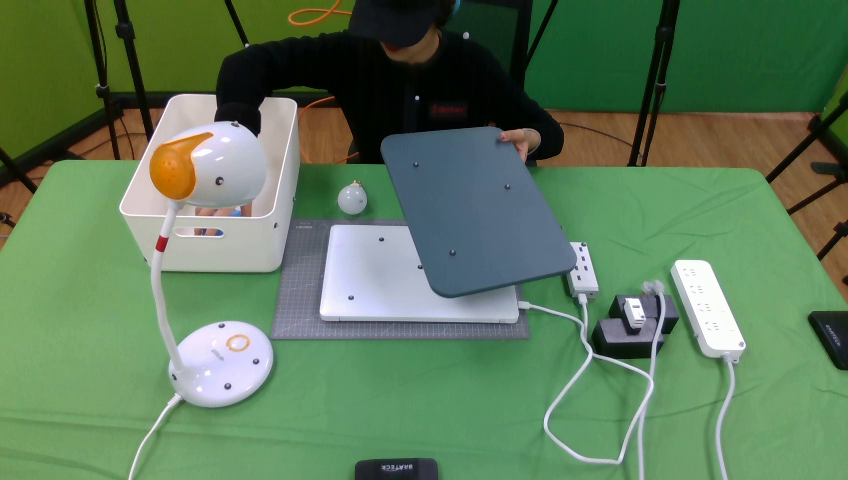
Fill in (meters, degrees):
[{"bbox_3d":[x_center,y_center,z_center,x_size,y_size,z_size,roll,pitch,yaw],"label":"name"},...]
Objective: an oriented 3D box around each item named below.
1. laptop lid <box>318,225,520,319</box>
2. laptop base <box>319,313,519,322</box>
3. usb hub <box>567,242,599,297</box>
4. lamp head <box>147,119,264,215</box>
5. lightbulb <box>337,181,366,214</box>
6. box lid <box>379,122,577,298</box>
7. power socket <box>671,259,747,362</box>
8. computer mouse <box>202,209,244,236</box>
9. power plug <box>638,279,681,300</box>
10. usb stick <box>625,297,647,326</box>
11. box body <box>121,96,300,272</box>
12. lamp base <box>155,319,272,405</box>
[{"bbox_3d":[-0.009,0.053,1.131,0.357,0.013,0.240,2,43,-2],"label":"laptop lid"},{"bbox_3d":[-0.009,0.063,1.137,0.354,0.023,0.234,1,42,-3],"label":"laptop base"},{"bbox_3d":[0.299,0.055,1.162,0.049,0.025,0.124,2,46,-2],"label":"usb hub"},{"bbox_3d":[-0.276,-0.087,0.740,0.112,0.112,0.123,20,23,15],"label":"lamp head"},{"bbox_3d":[-0.147,-0.094,1.261,0.059,0.060,0.107,4,30,0],"label":"lightbulb"},{"bbox_3d":[0.087,-0.069,1.071,0.264,0.015,0.369,-10,55,-15],"label":"box lid"},{"bbox_3d":[0.517,0.119,1.108,0.072,0.033,0.225,1,46,-2],"label":"power socket"},{"bbox_3d":[-0.389,-0.022,1.172,0.063,0.041,0.116,-1,43,-2],"label":"computer mouse"},{"bbox_3d":[0.434,0.099,1.119,0.073,0.053,0.035,34,38,-15],"label":"power plug"},{"bbox_3d":[0.360,0.116,1.034,0.021,0.027,0.059,-2,44,-2],"label":"usb stick"},{"bbox_3d":[-0.387,-0.112,1.182,0.254,0.161,0.361,1,46,-3],"label":"box body"},{"bbox_3d":[-0.330,0.149,0.918,0.160,0.181,0.179,26,52,20],"label":"lamp base"}]
